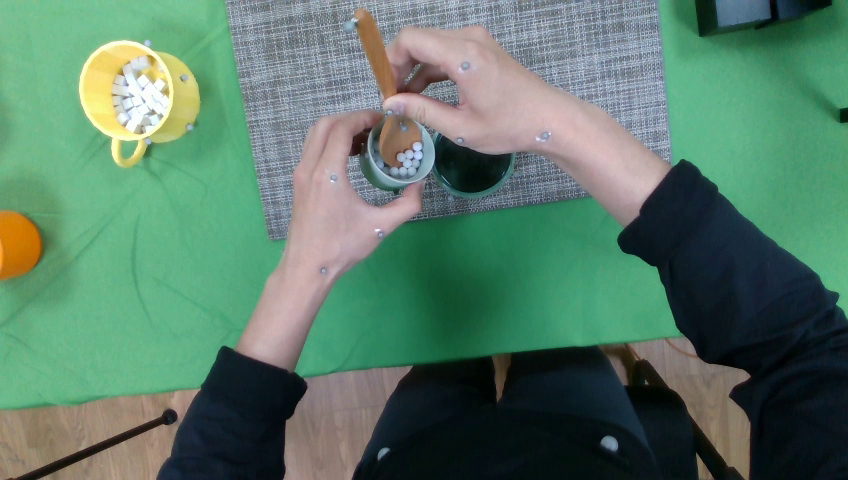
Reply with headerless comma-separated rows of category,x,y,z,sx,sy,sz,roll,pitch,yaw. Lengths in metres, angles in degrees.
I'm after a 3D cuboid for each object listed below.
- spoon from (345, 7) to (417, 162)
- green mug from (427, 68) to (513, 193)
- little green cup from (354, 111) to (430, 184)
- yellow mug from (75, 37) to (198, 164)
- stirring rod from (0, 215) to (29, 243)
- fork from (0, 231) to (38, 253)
spoon,-0.028,-0.105,0.441,0.041,0.195,0.021,-42,77,-7
green mug,0.048,-0.108,0.607,0.092,0.105,0.125,9,98,3
little green cup,-0.030,-0.078,0.526,0.062,0.038,0.061,2,86,-28
yellow mug,-0.308,-0.144,0.646,0.100,0.064,0.131,17,100,0
stirring rod,-0.504,0.031,0.647,0.014,0.006,0.175,42,56,-4
fork,-0.530,-0.002,0.638,0.209,0.018,0.028,3,97,-41
